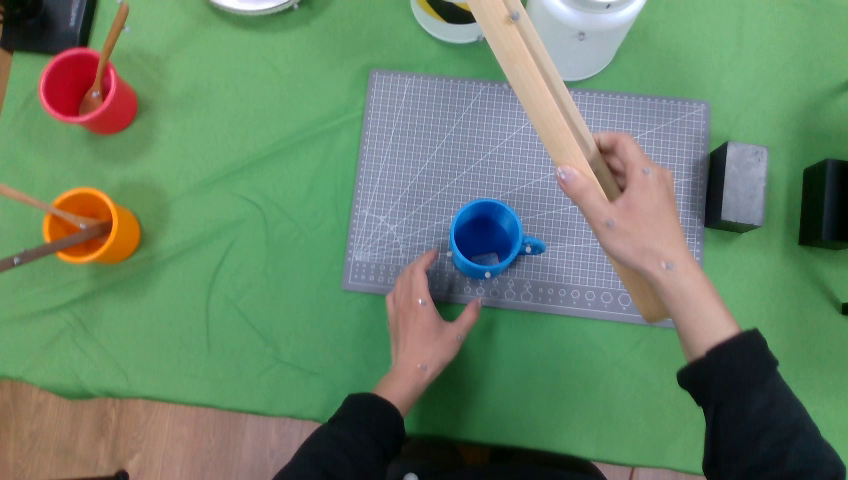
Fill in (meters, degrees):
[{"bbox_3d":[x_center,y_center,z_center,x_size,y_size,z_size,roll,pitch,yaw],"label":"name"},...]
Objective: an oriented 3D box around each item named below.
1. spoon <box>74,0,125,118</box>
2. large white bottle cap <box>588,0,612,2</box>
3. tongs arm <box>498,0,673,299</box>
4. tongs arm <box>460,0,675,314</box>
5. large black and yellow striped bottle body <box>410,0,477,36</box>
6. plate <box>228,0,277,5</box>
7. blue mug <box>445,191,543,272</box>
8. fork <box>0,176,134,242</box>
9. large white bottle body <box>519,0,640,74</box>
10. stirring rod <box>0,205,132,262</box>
[{"bbox_3d":[-0.398,-0.224,0.743,0.041,0.022,0.194,53,130,10],"label":"spoon"},{"bbox_3d":[0.185,-0.308,0.637,0.115,0.018,0.114,0,82,0],"label":"large white bottle cap"},{"bbox_3d":[0.123,-0.094,0.527,0.028,0.028,0.390,-27,112,25],"label":"tongs arm"},{"bbox_3d":[0.118,-0.084,0.512,0.026,0.050,0.387,-25,107,28],"label":"tongs arm"},{"bbox_3d":[0.042,-0.348,0.731,0.131,0.184,0.130,0,82,1],"label":"large black and yellow striped bottle body"},{"bbox_3d":[-0.226,-0.412,0.818,0.208,0.039,0.207,0,83,1],"label":"plate"},{"bbox_3d":[0.083,-0.005,0.721,0.116,0.106,0.082,8,82,2],"label":"blue mug"},{"bbox_3d":[-0.449,-0.047,0.717,0.209,0.018,0.028,31,80,-39],"label":"fork"},{"bbox_3d":[0.187,-0.294,0.720,0.130,0.185,0.130,0,82,1],"label":"large white bottle body"},{"bbox_3d":[-0.430,-0.007,0.717,0.014,0.006,0.176,54,44,4],"label":"stirring rod"}]
